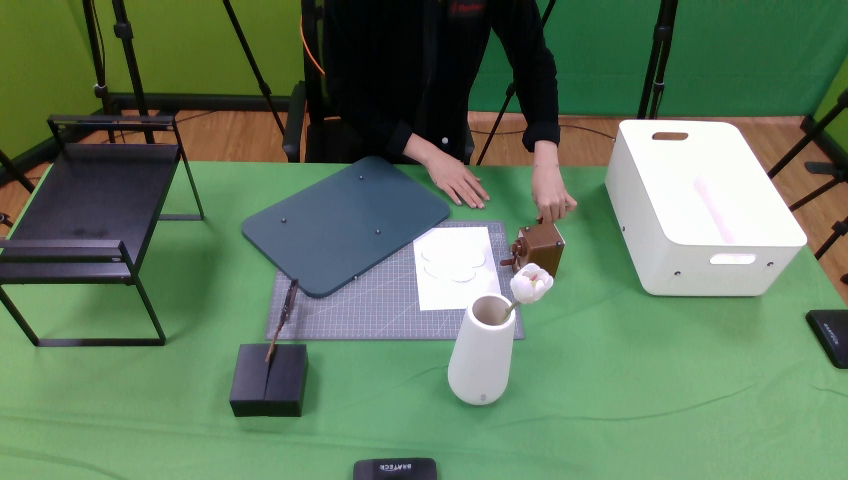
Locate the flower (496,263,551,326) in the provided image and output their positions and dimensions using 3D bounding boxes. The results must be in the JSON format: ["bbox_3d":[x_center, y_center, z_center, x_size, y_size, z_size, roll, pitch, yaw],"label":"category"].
[{"bbox_3d":[0.102,0.121,0.853,0.044,0.363,0.038,-2,64,-10],"label":"flower"}]

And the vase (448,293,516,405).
[{"bbox_3d":[0.091,0.169,0.921,0.098,0.201,0.097,3,47,-3],"label":"vase"}]

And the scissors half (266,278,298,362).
[{"bbox_3d":[-0.234,0.127,0.993,0.013,0.040,0.174,12,46,-4],"label":"scissors half"}]

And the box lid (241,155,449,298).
[{"bbox_3d":[-0.156,-0.043,1.234,0.371,0.015,0.262,-34,56,-31],"label":"box lid"}]

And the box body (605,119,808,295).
[{"bbox_3d":[0.529,-0.068,1.205,0.254,0.161,0.361,1,46,-4],"label":"box body"}]

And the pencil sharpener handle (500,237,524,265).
[{"bbox_3d":[0.159,0.024,1.111,0.031,0.068,0.035,-9,54,-12],"label":"pencil sharpener handle"}]

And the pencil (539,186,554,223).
[{"bbox_3d":[0.250,-0.049,1.275,0.012,0.012,0.193,16,49,11],"label":"pencil"}]

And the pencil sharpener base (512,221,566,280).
[{"bbox_3d":[0.209,0.026,1.130,0.077,0.107,0.061,-9,48,-12],"label":"pencil sharpener base"}]

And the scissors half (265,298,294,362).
[{"bbox_3d":[-0.239,0.143,1.005,0.013,0.040,0.174,17,28,-7],"label":"scissors half"}]
